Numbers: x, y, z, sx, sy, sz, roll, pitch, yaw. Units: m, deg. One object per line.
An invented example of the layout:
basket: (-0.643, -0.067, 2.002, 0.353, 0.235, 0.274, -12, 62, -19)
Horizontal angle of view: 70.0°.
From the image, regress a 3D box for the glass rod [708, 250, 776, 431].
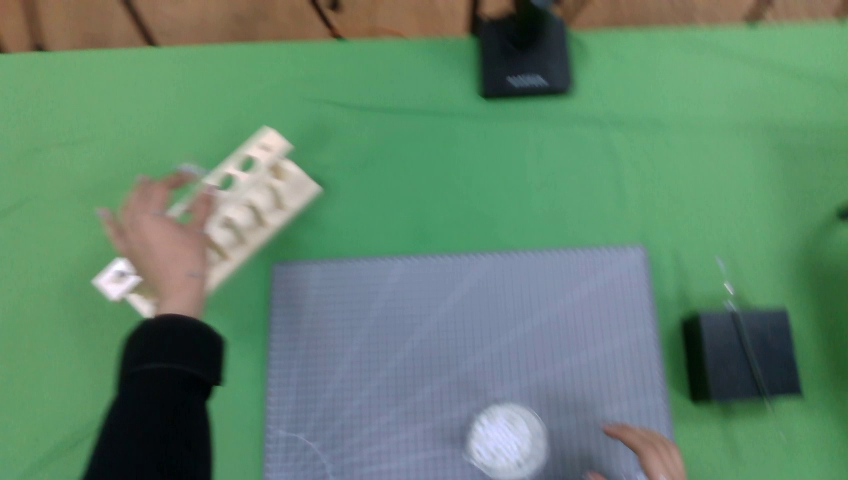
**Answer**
glass rod: (0.342, 0.106, 0.654, 0.008, 0.008, 0.198, -12, 76, -4)

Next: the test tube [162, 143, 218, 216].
test tube: (-0.244, -0.059, 0.641, 0.017, 0.151, 0.017, 1, 69, -3)

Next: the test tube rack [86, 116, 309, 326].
test tube rack: (-0.244, -0.020, 0.682, 0.066, 0.085, 0.242, 41, 78, 9)

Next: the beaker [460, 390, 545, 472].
beaker: (0.073, 0.197, 0.623, 0.084, 0.101, 0.073, -19, 75, -7)
